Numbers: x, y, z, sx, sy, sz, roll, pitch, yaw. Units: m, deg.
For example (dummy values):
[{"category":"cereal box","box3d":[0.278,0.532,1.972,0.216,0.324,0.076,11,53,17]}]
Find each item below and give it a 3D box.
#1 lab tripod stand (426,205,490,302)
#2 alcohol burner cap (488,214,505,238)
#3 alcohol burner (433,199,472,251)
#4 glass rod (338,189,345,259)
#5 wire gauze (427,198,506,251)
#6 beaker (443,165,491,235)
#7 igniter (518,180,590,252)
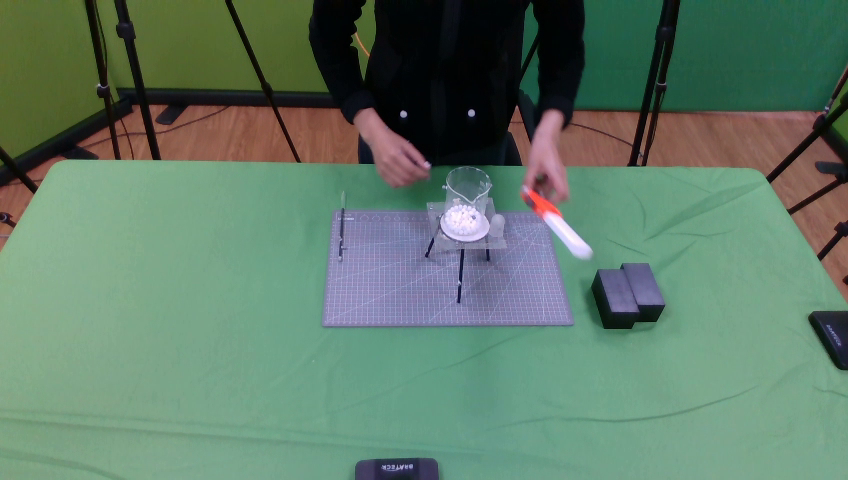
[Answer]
[{"category":"lab tripod stand","box3d":[0.069,0.017,1.106,0.148,0.132,0.147,3,47,-3]},{"category":"alcohol burner cap","box3d":[0.148,-0.032,1.222,0.034,0.048,0.033,2,45,-2]},{"category":"alcohol burner","box3d":[0.056,-0.036,1.170,0.078,0.119,0.077,3,48,-3]},{"category":"glass rod","box3d":[-0.166,-0.036,1.227,0.008,0.008,0.198,-1,46,-4]},{"category":"wire gauze","box3d":[0.072,-0.028,1.057,0.125,0.011,0.120,-1,49,-8]},{"category":"beaker","box3d":[0.070,-0.062,1.023,0.074,0.101,0.083,-2,48,-6]},{"category":"igniter","box3d":[0.209,-0.048,1.019,0.057,0.025,0.275,15,21,-16]}]
